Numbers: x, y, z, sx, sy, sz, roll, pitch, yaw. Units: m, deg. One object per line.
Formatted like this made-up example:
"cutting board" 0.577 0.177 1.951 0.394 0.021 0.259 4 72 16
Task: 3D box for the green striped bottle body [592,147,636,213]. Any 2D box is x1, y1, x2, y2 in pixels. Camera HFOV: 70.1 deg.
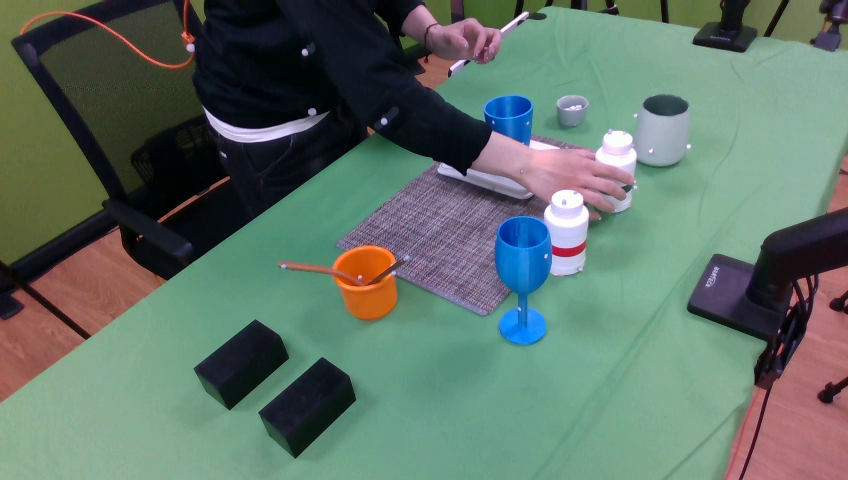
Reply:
"green striped bottle body" 0.306 -0.108 0.975 0.063 0.120 0.063 -4 41 4

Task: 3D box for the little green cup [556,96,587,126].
"little green cup" 0.295 -0.258 1.214 0.061 0.039 0.061 -4 41 4

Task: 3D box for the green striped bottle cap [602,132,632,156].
"green striped bottle cap" 0.300 -0.149 0.938 0.044 0.020 0.044 -4 41 4

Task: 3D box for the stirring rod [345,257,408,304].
"stirring rod" -0.067 0.057 0.814 0.014 0.175 0.006 -24 82 -38

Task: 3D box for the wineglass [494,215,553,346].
"wineglass" 0.126 0.055 0.770 0.074 0.173 0.073 -4 40 4

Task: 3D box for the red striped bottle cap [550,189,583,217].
"red striped bottle cap" 0.199 -0.052 0.843 0.044 0.018 0.044 -1 43 2

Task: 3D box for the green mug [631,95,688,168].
"green mug" 0.421 -0.201 1.081 0.092 0.105 0.125 5 42 15

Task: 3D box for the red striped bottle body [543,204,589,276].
"red striped bottle body" 0.205 -0.011 0.877 0.063 0.120 0.062 -4 40 4

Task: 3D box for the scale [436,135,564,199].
"scale" 0.137 -0.142 1.101 0.199 0.032 0.149 22 48 30

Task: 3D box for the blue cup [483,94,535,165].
"blue cup" 0.149 -0.188 1.053 0.092 0.101 0.092 -6 39 5

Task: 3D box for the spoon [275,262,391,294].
"spoon" -0.120 0.050 0.830 0.041 0.195 0.021 32 97 45
